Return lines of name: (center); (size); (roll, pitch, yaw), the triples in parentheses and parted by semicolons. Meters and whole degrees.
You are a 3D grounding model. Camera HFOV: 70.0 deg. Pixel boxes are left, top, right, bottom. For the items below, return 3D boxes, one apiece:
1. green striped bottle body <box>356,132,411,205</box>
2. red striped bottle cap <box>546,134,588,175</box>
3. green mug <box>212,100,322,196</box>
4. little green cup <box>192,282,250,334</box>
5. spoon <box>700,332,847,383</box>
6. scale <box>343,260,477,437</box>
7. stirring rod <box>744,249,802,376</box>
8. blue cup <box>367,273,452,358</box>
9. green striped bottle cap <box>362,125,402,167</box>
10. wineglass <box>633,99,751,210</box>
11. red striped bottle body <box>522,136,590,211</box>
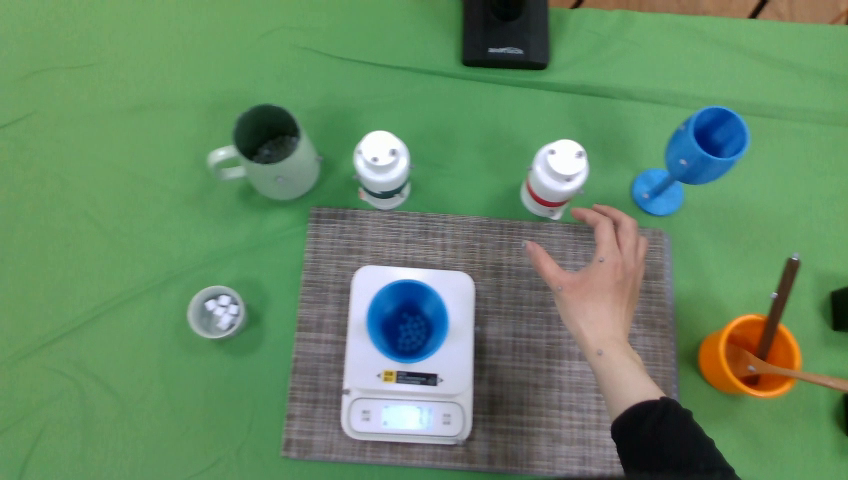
green striped bottle body: (-0.047, -0.090, 0.723); (0.063, 0.120, 0.063); (0, 74, -1)
red striped bottle cap: (0.160, -0.096, 0.675); (0.044, 0.018, 0.044); (0, 73, 0)
green mug: (-0.191, -0.105, 0.732); (0.125, 0.105, 0.092); (-18, 76, -6)
little green cup: (-0.236, 0.082, 0.714); (0.061, 0.039, 0.061); (1, 75, -2)
spoon: (0.400, 0.137, 0.659); (0.022, 0.192, 0.041); (25, 79, -39)
scale: (-0.014, 0.124, 0.708); (0.149, 0.032, 0.200); (3, 75, 0)
stirring rod: (0.385, 0.085, 0.672); (0.014, 0.177, 0.006); (9, 34, 16)
blue cup: (-0.017, 0.086, 0.651); (0.093, 0.100, 0.092); (1, 77, -3)
green striped bottle cap: (-0.047, -0.105, 0.673); (0.044, 0.020, 0.044); (1, 74, -2)
wineglass: (0.305, -0.093, 0.705); (0.074, 0.173, 0.073); (0, 74, 0)
red striped bottle body: (0.159, -0.082, 0.726); (0.063, 0.120, 0.062); (1, 75, -2)
